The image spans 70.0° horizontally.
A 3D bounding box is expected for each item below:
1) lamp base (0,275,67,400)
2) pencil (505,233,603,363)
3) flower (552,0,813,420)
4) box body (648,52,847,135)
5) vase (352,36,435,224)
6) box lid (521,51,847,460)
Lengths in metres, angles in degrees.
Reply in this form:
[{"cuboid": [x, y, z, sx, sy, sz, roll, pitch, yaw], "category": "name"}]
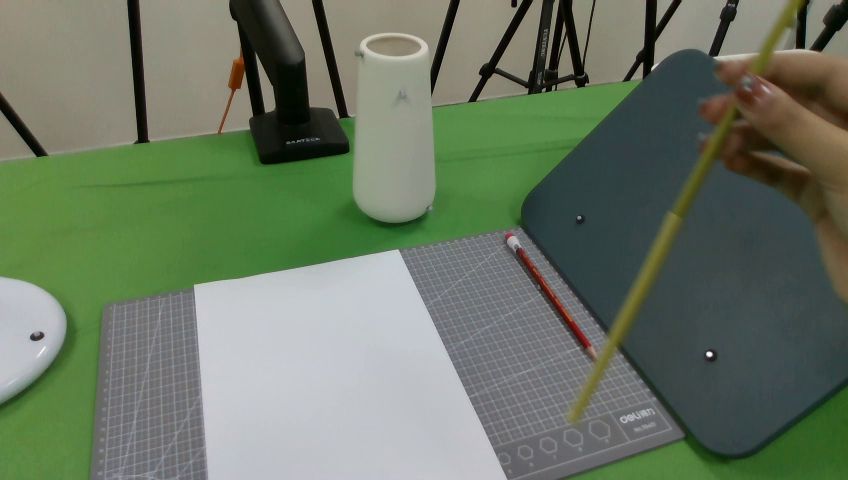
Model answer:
[{"cuboid": [-0.404, 0.025, 0.479, 0.177, 0.182, 0.160, 27, 44, 30], "category": "lamp base"}, {"cuboid": [0.128, 0.053, 0.616, 0.012, 0.012, 0.191, -12, 42, -17], "category": "pencil"}, {"cuboid": [0.145, -0.043, 0.299, 0.044, 0.363, 0.038, 8, 28, -29], "category": "flower"}, {"cuboid": [0.424, -0.053, 0.653, 0.255, 0.162, 0.359, -11, 40, -16], "category": "box body"}, {"cuboid": [-0.035, -0.117, 0.671, 0.098, 0.202, 0.097, 1, 38, 0], "category": "vase"}, {"cuboid": [0.260, -0.014, 0.566, 0.015, 0.263, 0.367, 32, 19, -40], "category": "box lid"}]
